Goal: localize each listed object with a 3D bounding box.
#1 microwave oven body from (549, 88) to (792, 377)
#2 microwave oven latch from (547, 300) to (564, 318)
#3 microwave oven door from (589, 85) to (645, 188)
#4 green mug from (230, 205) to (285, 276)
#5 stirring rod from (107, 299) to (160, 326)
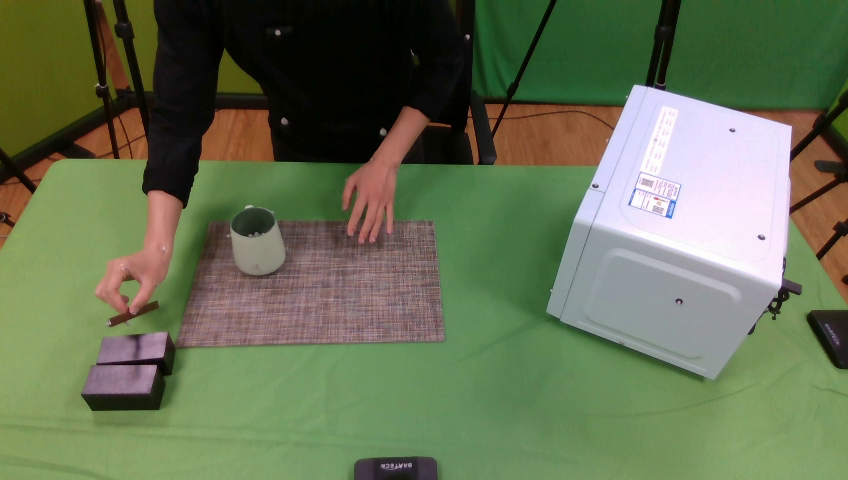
[{"bbox_3d":[0.456,-0.028,1.088,0.325,0.261,0.440,20,47,16],"label":"microwave oven body"},{"bbox_3d":[0.242,0.102,1.081,0.030,0.029,0.079,21,48,17],"label":"microwave oven latch"},{"bbox_3d":[0.342,-0.107,1.148,0.039,0.245,0.354,20,48,15],"label":"microwave oven door"},{"bbox_3d":[-0.311,-0.008,1.118,0.092,0.105,0.124,-14,48,-16],"label":"green mug"},{"bbox_3d":[-0.464,0.116,0.976,0.006,0.014,0.176,-8,4,0],"label":"stirring rod"}]
